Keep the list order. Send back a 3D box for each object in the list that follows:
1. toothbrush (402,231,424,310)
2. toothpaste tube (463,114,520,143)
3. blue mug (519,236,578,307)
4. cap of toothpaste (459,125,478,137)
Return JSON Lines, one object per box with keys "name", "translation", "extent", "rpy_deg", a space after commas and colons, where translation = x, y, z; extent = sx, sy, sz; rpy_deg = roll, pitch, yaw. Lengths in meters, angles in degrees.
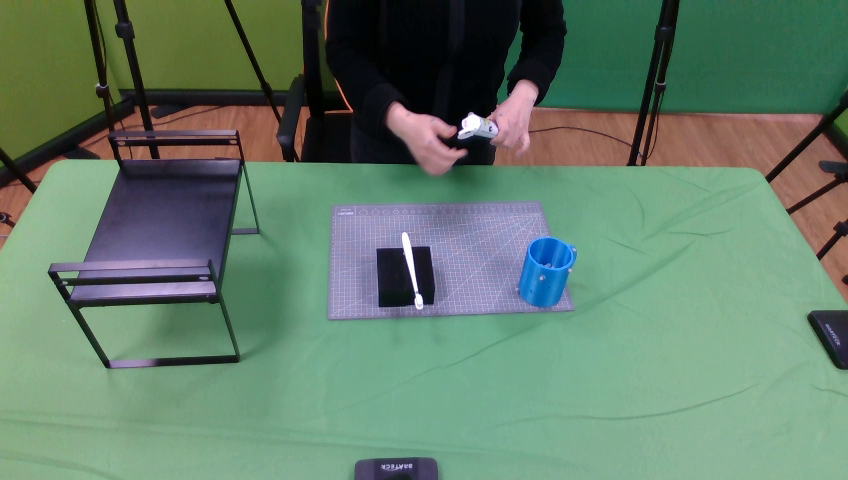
{"name": "toothbrush", "translation": [-0.022, 0.049, 1.080], "extent": [0.014, 0.017, 0.180], "rpy_deg": [-9, 47, -5]}
{"name": "toothpaste tube", "translation": [0.129, -0.214, 1.161], "extent": [0.165, 0.034, 0.055], "rpy_deg": [-2, 50, -53]}
{"name": "blue mug", "translation": [0.234, 0.051, 1.102], "extent": [0.116, 0.106, 0.082], "rpy_deg": [-23, 52, -24]}
{"name": "cap of toothpaste", "translation": [0.078, -0.196, 1.087], "extent": [0.037, 0.037, 0.011], "rpy_deg": [-17, 83, -19]}
